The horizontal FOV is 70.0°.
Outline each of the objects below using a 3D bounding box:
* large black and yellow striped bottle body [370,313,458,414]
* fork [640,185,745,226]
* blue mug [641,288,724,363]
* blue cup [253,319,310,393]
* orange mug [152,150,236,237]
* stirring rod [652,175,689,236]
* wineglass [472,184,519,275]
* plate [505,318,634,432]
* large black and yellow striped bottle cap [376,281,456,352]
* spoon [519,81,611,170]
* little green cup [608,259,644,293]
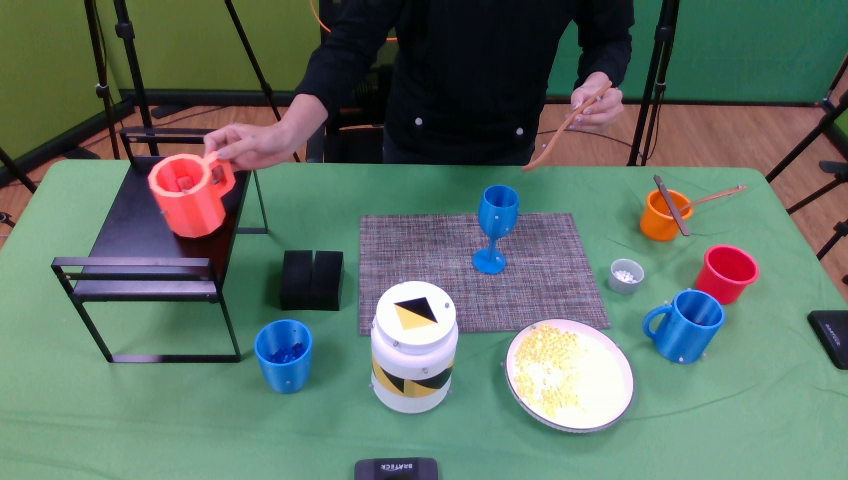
[{"bbox_3d":[-0.017,0.165,0.924,0.131,0.185,0.130,2,46,-2],"label":"large black and yellow striped bottle body"},{"bbox_3d":[0.534,-0.069,1.215,0.207,0.019,0.028,-26,27,33],"label":"fork"},{"bbox_3d":[0.432,0.144,1.033,0.116,0.106,0.082,8,46,5],"label":"blue mug"},{"bbox_3d":[-0.217,0.187,0.943,0.093,0.101,0.092,3,45,-3],"label":"blue cup"},{"bbox_3d":[-0.342,-0.080,0.924,0.083,0.101,0.126,31,61,17],"label":"orange mug"},{"bbox_3d":[0.491,-0.072,1.211,0.014,0.006,0.175,-1,46,-6],"label":"stirring rod"},{"bbox_3d":[0.129,-0.018,1.113,0.074,0.173,0.073,2,46,-2],"label":"wineglass"},{"bbox_3d":[0.235,0.221,0.991,0.209,0.038,0.208,2,45,-2],"label":"plate"},{"bbox_3d":[-0.011,0.107,0.863,0.115,0.019,0.114,2,47,-2],"label":"large black and yellow striped bottle cap"},{"bbox_3d":[0.223,-0.179,0.965,0.021,0.194,0.041,43,25,6],"label":"spoon"},{"bbox_3d":[0.379,0.070,1.147,0.061,0.039,0.061,3,45,-2],"label":"little green cup"}]
